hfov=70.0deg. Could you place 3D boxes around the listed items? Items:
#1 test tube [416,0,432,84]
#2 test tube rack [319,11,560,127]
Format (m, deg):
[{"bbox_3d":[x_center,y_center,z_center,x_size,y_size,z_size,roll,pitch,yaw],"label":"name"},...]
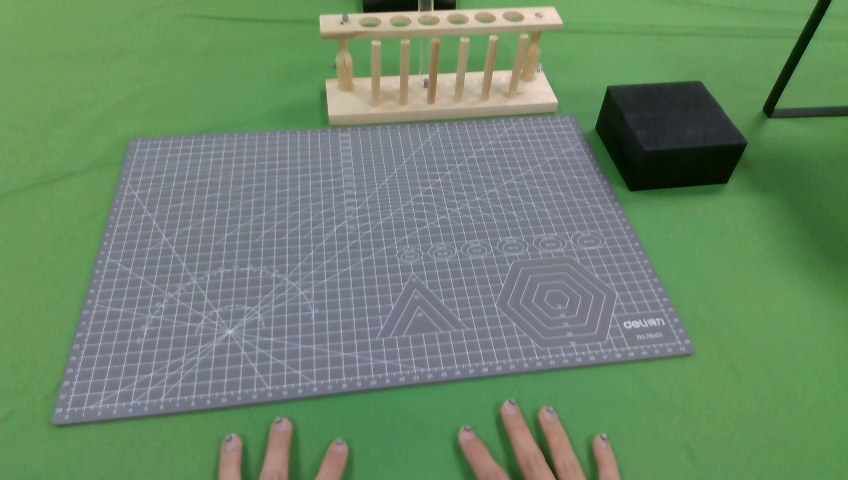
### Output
[{"bbox_3d":[0.000,-0.224,0.601,0.017,0.151,0.017,0,45,0],"label":"test tube"},{"bbox_3d":[0.018,-0.178,0.628,0.243,0.086,0.066,-5,48,-8],"label":"test tube rack"}]
